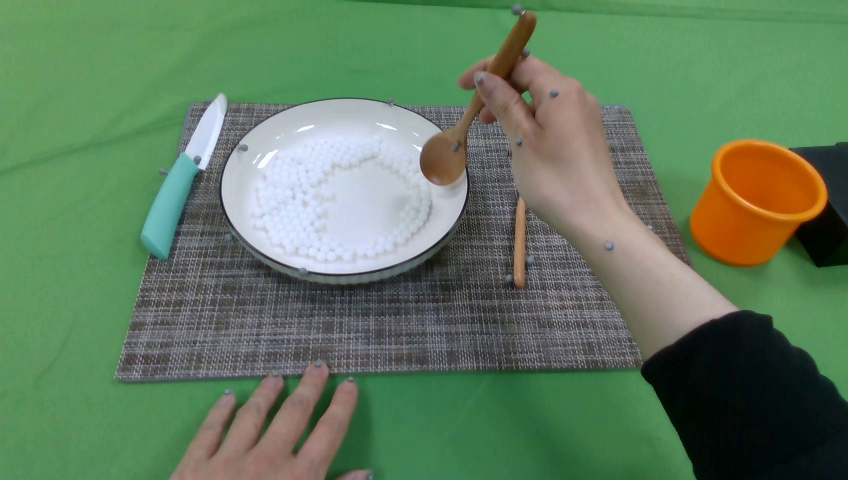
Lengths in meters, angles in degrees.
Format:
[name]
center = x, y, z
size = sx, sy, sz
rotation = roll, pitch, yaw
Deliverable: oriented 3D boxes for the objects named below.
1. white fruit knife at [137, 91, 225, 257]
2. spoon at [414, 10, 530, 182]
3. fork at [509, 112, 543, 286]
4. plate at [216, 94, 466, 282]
[white fruit knife]
center = -0.213, -0.070, 0.545
size = 0.027, 0.016, 0.205
rotation = 24, 46, -21
[spoon]
center = 0.032, -0.096, 0.445
size = 0.041, 0.194, 0.021
rotation = 41, 64, 1
[fork]
center = 0.091, -0.044, 0.545
size = 0.018, 0.028, 0.206
rotation = -8, 48, 29
[plate]
center = -0.068, -0.046, 0.522
size = 0.209, 0.038, 0.207
rotation = 2, 52, -2
